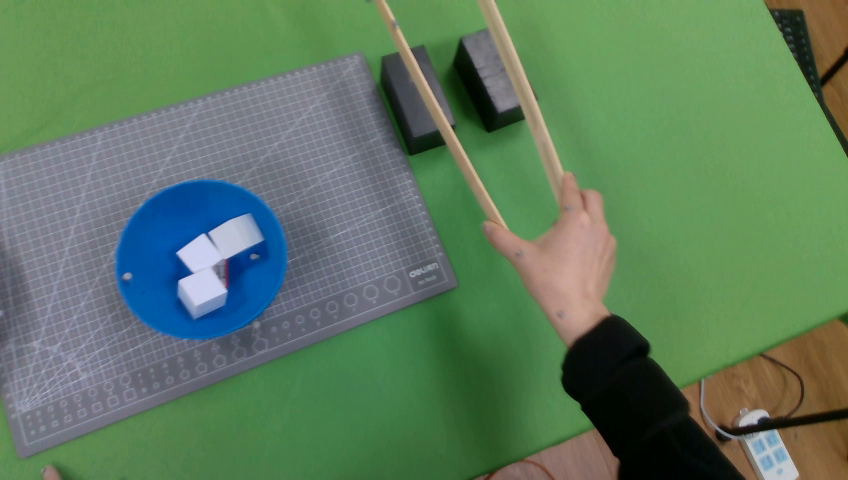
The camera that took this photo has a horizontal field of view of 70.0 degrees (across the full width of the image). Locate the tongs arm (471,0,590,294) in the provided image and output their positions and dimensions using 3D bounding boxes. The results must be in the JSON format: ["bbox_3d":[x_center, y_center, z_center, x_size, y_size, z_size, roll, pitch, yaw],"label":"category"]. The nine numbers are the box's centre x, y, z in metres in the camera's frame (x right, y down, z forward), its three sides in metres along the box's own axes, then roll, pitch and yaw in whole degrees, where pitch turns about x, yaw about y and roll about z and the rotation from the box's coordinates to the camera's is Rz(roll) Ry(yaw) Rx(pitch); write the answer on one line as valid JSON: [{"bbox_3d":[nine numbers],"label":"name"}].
[{"bbox_3d":[0.090,-0.131,0.598,0.028,0.028,0.385,-14,78,-19],"label":"tongs arm"}]

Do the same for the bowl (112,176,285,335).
[{"bbox_3d":[-0.209,0.022,0.589,0.152,0.077,0.150,2,76,-8],"label":"bowl"}]

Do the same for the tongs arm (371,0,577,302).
[{"bbox_3d":[0.035,-0.110,0.582,0.051,0.026,0.383,-22,79,-17],"label":"tongs arm"}]
